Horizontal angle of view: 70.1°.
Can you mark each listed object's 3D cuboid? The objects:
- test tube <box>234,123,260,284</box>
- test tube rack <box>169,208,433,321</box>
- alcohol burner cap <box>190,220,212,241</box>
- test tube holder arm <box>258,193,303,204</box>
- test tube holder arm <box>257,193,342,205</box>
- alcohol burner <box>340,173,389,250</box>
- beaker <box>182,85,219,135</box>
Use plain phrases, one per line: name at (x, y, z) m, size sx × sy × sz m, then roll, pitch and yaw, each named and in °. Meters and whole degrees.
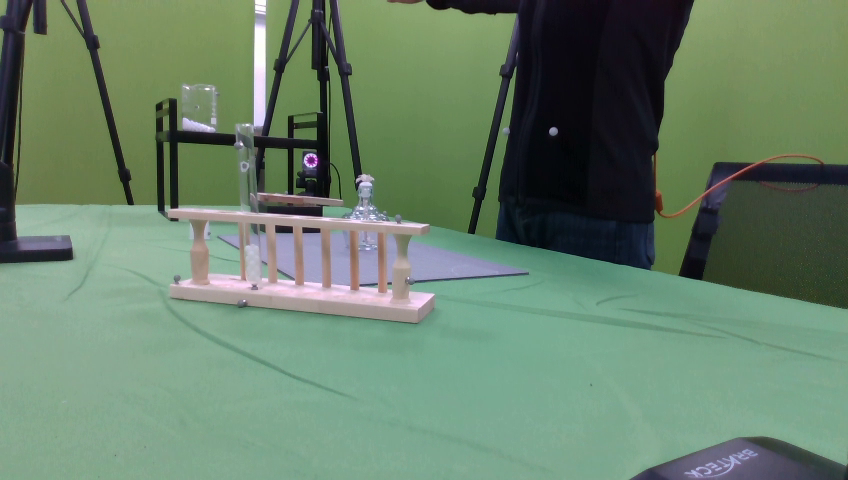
test tube at (-0.164, -0.032, 0.562) m, size 0.017 × 0.150 × 0.017 m, roll -1°, pitch 8°, yaw 0°
test tube rack at (-0.115, 0.018, 0.574) m, size 0.242 × 0.085 × 0.067 m, roll 4°, pitch 8°, yaw 13°
alcohol burner cap at (-0.364, -0.023, 0.988) m, size 0.034 × 0.048 × 0.034 m, roll 2°, pitch 7°, yaw 0°
test tube holder arm at (-0.270, -0.078, 1.141) m, size 0.088 × 0.015 × 0.010 m, roll 2°, pitch 22°, yaw -39°
test tube holder arm at (-0.238, -0.079, 1.174) m, size 0.179 × 0.015 × 0.013 m, roll 1°, pitch 22°, yaw -40°
alcohol burner at (-0.093, -0.045, 0.939) m, size 0.078 × 0.119 × 0.078 m, roll 0°, pitch 7°, yaw 0°
beaker at (-0.479, -0.276, 1.291) m, size 0.074 × 0.100 × 0.084 m, roll 2°, pitch 8°, yaw -1°
